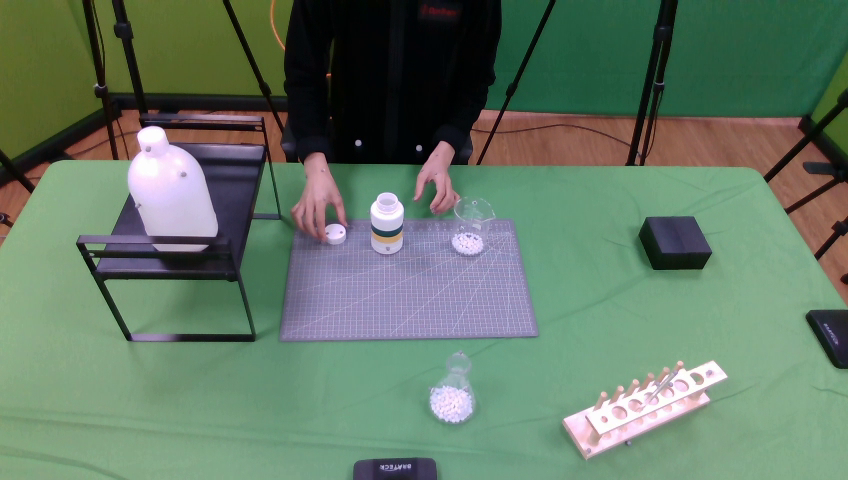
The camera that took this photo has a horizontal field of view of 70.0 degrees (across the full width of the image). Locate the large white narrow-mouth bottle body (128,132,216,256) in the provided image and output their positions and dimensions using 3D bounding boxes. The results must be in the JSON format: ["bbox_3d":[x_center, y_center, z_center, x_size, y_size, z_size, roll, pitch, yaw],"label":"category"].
[{"bbox_3d":[-0.366,-0.073,0.872,0.102,0.195,0.101,3,47,-3],"label":"large white narrow-mouth bottle body"}]

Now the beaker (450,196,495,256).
[{"bbox_3d":[0.091,-0.024,1.170,0.084,0.101,0.073,15,48,10],"label":"beaker"}]

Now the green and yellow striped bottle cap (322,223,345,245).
[{"bbox_3d":[-0.178,-0.013,1.197,0.045,0.020,0.045,3,48,-3],"label":"green and yellow striped bottle cap"}]

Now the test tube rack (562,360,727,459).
[{"bbox_3d":[0.341,0.247,0.940,0.243,0.085,0.066,-16,49,-18],"label":"test tube rack"}]

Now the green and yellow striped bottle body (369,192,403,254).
[{"bbox_3d":[-0.072,-0.035,1.153,0.063,0.120,0.063,2,46,-2],"label":"green and yellow striped bottle body"}]

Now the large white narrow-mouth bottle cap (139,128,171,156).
[{"bbox_3d":[-0.358,-0.131,0.808,0.038,0.024,0.037,3,47,-3],"label":"large white narrow-mouth bottle cap"}]

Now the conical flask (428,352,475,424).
[{"bbox_3d":[0.046,0.220,0.920,0.075,0.122,0.075,2,46,-2],"label":"conical flask"}]

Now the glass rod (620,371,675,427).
[{"bbox_3d":[0.316,0.230,0.863,0.008,0.200,0.008,3,54,-3],"label":"glass rod"}]
